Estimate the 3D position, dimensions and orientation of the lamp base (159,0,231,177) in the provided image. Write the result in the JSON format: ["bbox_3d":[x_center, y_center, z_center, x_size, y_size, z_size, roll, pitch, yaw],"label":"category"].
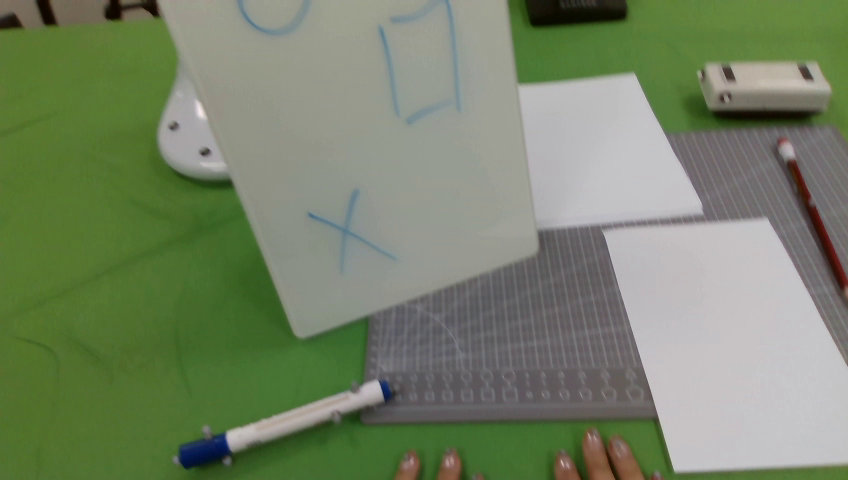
[{"bbox_3d":[-0.218,-0.180,0.601,0.177,0.182,0.160,31,58,32],"label":"lamp base"}]

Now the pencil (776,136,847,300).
[{"bbox_3d":[0.333,-0.023,0.519,0.012,0.012,0.192,1,51,7],"label":"pencil"}]

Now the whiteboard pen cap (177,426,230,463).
[{"bbox_3d":[-0.149,0.138,0.412,0.033,0.018,0.018,-16,48,-13],"label":"whiteboard pen cap"}]

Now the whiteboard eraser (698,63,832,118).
[{"bbox_3d":[0.342,-0.151,0.614,0.112,0.042,0.055,2,49,8],"label":"whiteboard eraser"}]

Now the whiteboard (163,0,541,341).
[{"bbox_3d":[-0.050,-0.113,0.479,0.217,0.308,0.142,-19,30,-10],"label":"whiteboard"}]

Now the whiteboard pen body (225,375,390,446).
[{"bbox_3d":[-0.093,0.123,0.424,0.141,0.017,0.017,-16,49,-11],"label":"whiteboard pen body"}]
